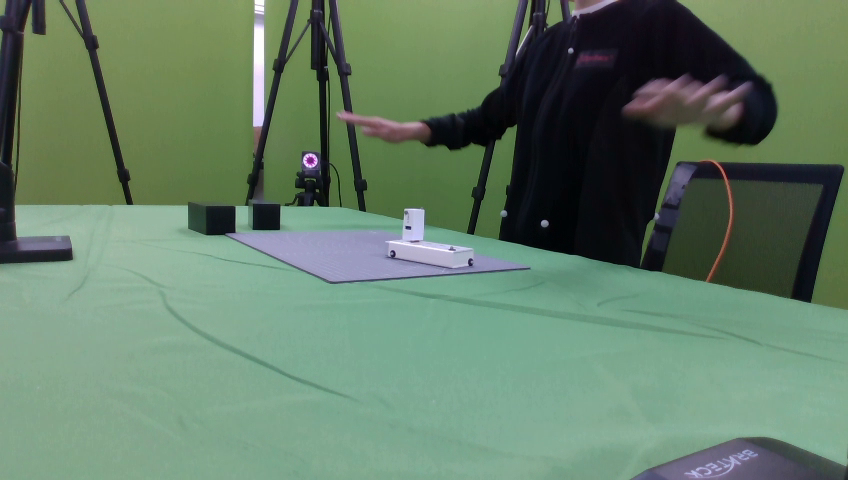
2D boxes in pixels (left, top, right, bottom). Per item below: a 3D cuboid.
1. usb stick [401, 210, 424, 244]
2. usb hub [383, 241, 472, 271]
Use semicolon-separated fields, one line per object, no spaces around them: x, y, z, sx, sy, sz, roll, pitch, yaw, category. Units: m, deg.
-0.017;-0.012;0.861;0.021;0.059;0.027;10;12;36;usb stick
0.003;0.020;0.842;0.124;0.025;0.050;8;9;39;usb hub
